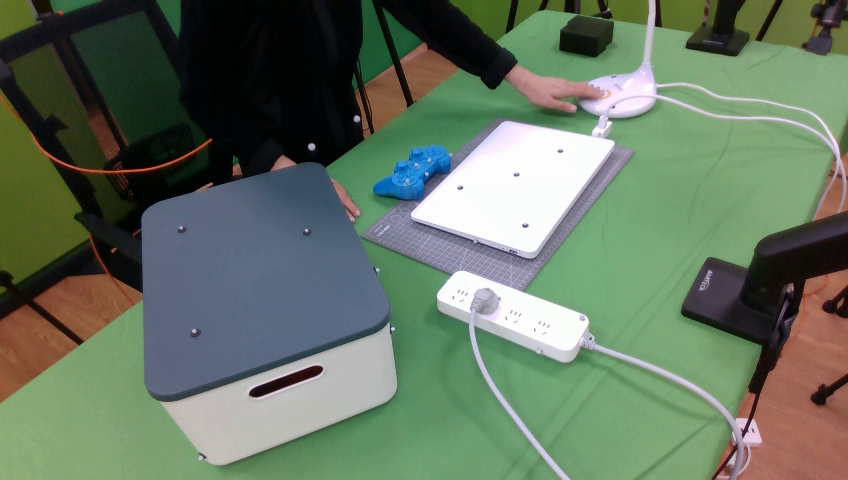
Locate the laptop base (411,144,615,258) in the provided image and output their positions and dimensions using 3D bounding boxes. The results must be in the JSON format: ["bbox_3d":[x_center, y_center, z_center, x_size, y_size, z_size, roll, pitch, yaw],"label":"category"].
[{"bbox_3d":[0.167,-0.102,1.074,0.234,0.023,0.355,16,45,30],"label":"laptop base"}]

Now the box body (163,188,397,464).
[{"bbox_3d":[-0.205,0.080,0.802,0.255,0.161,0.361,-18,41,-13],"label":"box body"}]

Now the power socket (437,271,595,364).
[{"bbox_3d":[0.118,0.102,0.830,0.225,0.033,0.072,20,48,28],"label":"power socket"}]

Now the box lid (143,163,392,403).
[{"bbox_3d":[-0.212,0.025,0.753,0.264,0.015,0.368,-18,41,-13],"label":"box lid"}]

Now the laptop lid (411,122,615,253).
[{"bbox_3d":[0.164,-0.112,1.068,0.240,0.013,0.357,19,46,30],"label":"laptop lid"}]

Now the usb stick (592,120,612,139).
[{"bbox_3d":[0.335,-0.203,1.149,0.021,0.027,0.059,26,53,26],"label":"usb stick"}]

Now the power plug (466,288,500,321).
[{"bbox_3d":[0.072,0.093,0.813,0.073,0.053,0.035,-37,49,-29],"label":"power plug"}]

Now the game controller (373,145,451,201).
[{"bbox_3d":[-0.018,-0.130,1.111,0.096,0.052,0.155,22,48,26],"label":"game controller"}]

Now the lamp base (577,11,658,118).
[{"bbox_3d":[0.406,-0.363,1.222,0.180,0.181,0.159,-20,42,-18],"label":"lamp base"}]
